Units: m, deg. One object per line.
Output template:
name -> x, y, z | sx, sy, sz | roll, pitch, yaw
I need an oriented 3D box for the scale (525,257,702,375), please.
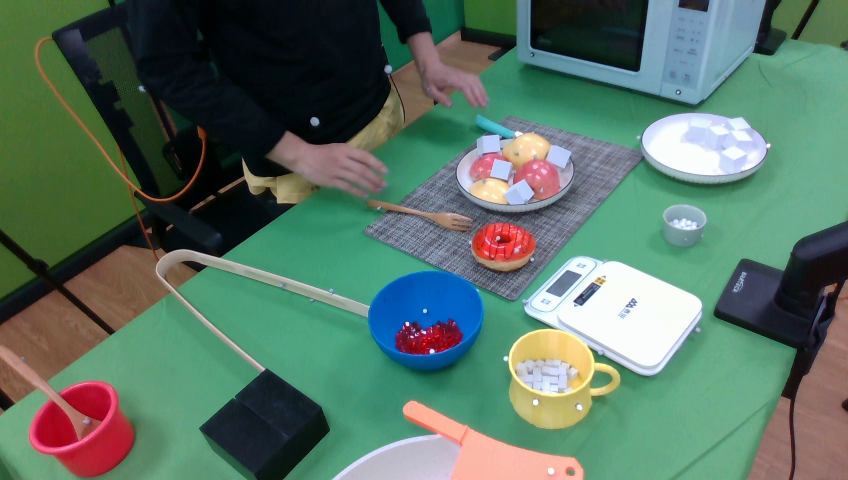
scale -> 0.254, 0.091, 0.821 | 0.199, 0.032, 0.149 | 28, 51, 35

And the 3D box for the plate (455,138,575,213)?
plate -> 0.159, -0.111, 1.063 | 0.209, 0.038, 0.208 | -4, 40, 4

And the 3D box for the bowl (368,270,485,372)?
bowl -> 0.007, 0.118, 0.791 | 0.151, 0.077, 0.150 | -5, 40, 4

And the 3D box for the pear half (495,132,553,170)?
pear half -> 0.174, -0.167, 1.094 | 0.109, 0.056, 0.076 | 15, 52, 30

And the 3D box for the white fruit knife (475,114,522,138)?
white fruit knife -> 0.177, -0.207, 1.190 | 0.205, 0.016, 0.027 | 31, 65, 35

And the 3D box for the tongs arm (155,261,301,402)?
tongs arm -> -0.294, 0.122, 0.869 | 0.384, 0.028, 0.028 | 28, 59, 35

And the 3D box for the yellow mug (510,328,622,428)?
yellow mug -> 0.168, 0.164, 0.722 | 0.130, 0.064, 0.099 | 0, 40, 8

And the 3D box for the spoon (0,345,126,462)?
spoon -> -0.434, 0.192, 0.720 | 0.194, 0.021, 0.042 | 47, 53, -7

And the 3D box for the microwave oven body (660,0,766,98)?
microwave oven body -> 0.472, -0.513, 1.317 | 0.438, 0.261, 0.327 | 26, 51, 34

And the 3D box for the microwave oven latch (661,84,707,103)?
microwave oven latch -> 0.517, -0.296, 1.204 | 0.078, 0.029, 0.030 | 27, 52, 35

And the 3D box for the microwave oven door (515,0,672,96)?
microwave oven door -> 0.343, -0.454, 1.259 | 0.353, 0.245, 0.039 | 26, 51, 33

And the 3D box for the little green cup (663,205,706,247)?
little green cup -> 0.396, -0.020, 0.926 | 0.061, 0.039, 0.061 | -4, 40, 4

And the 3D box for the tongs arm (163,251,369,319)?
tongs arm -> -0.247, 0.073, 0.917 | 0.382, 0.026, 0.051 | 16, 49, 26

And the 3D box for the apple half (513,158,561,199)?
apple half -> 0.193, -0.111, 1.031 | 0.080, 0.053, 0.075 | 11, 41, 26

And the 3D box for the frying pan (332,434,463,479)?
frying pan -> -0.089, 0.306, 0.564 | 0.487, 0.103, 0.306 | 10, 41, 7

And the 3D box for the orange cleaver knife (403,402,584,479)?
orange cleaver knife -> 0.062, 0.222, 0.609 | 0.210, 0.012, 0.077 | 15, 48, 25

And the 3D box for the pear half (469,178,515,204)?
pear half -> 0.115, -0.090, 1.036 | 0.087, 0.031, 0.071 | 29, 38, 32

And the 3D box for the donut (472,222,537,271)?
donut -> 0.123, 0.008, 0.923 | 0.099, 0.048, 0.098 | -3, 38, 3

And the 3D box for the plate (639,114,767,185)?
plate -> 0.489, -0.157, 1.074 | 0.207, 0.039, 0.206 | -4, 40, 4

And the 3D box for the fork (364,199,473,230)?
fork -> -0.014, -0.046, 1.027 | 0.206, 0.028, 0.019 | 14, 18, 27

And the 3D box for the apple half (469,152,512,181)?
apple half -> 0.120, -0.138, 1.088 | 0.081, 0.033, 0.081 | -2, 46, 2
